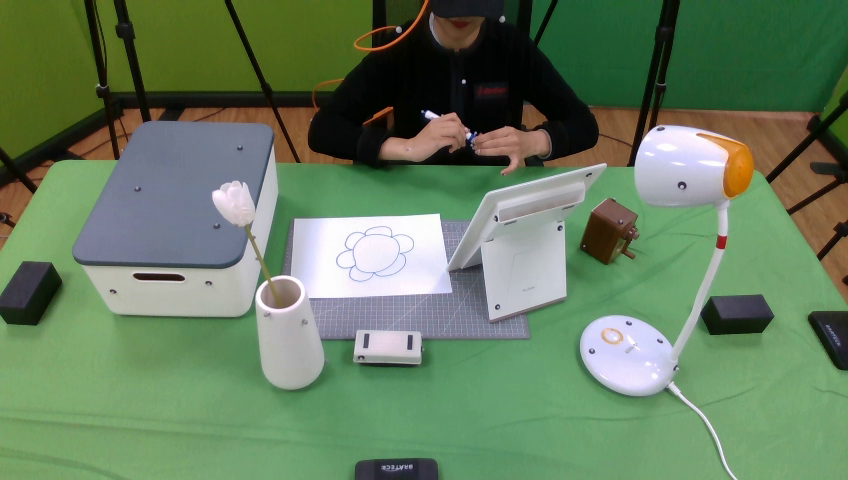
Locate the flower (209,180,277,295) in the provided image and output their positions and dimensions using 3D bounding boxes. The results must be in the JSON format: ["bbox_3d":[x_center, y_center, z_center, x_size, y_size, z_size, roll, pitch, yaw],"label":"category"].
[{"bbox_3d":[-0.217,0.075,0.872,0.044,0.363,0.038,-28,36,-19],"label":"flower"}]

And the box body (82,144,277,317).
[{"bbox_3d":[-0.421,-0.041,1.108,0.254,0.161,0.361,2,46,-3],"label":"box body"}]

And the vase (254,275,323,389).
[{"bbox_3d":[-0.209,0.143,0.921,0.098,0.201,0.097,1,46,-1],"label":"vase"}]

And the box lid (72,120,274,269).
[{"bbox_3d":[-0.417,-0.094,1.056,0.263,0.015,0.369,1,47,-3],"label":"box lid"}]

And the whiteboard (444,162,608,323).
[{"bbox_3d":[0.186,0.025,1.029,0.217,0.306,0.143,-14,68,-17],"label":"whiteboard"}]

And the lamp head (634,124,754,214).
[{"bbox_3d":[0.351,-0.089,0.776,0.112,0.113,0.122,-30,30,-28],"label":"lamp head"}]

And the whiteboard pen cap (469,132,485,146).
[{"bbox_3d":[0.111,-0.215,1.286,0.033,0.018,0.018,34,52,8],"label":"whiteboard pen cap"}]

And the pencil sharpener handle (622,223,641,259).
[{"bbox_3d":[0.397,0.002,1.146,0.030,0.068,0.036,37,46,27],"label":"pencil sharpener handle"}]

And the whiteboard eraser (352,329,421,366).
[{"bbox_3d":[-0.061,0.179,1.005,0.113,0.042,0.055,3,48,-3],"label":"whiteboard eraser"}]

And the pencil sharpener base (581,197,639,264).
[{"bbox_3d":[0.362,-0.017,1.179,0.076,0.107,0.061,37,54,27],"label":"pencil sharpener base"}]

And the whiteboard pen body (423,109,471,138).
[{"bbox_3d":[0.060,-0.244,1.299,0.140,0.017,0.017,29,50,9],"label":"whiteboard pen body"}]

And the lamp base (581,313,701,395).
[{"bbox_3d":[0.361,0.144,0.972,0.178,0.181,0.160,34,53,23],"label":"lamp base"}]
